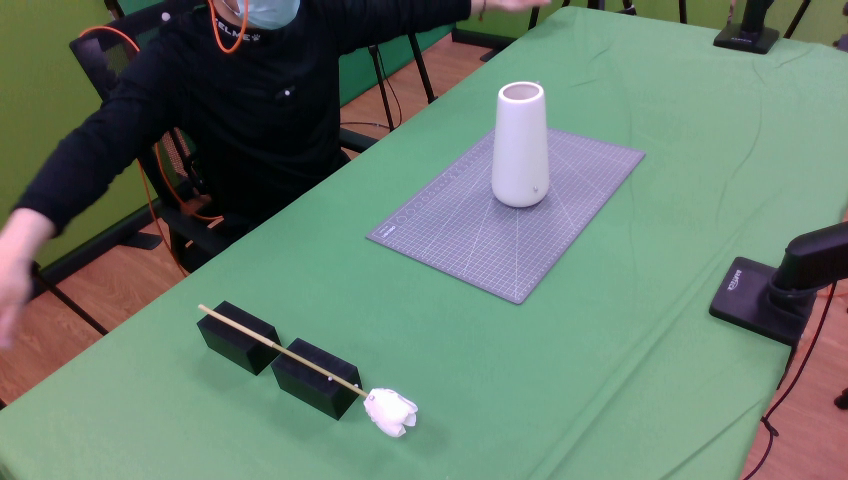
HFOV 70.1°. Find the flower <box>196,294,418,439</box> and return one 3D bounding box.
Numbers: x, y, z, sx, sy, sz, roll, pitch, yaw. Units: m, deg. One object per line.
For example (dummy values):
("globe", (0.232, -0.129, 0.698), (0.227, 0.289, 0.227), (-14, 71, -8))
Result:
("flower", (-0.163, 0.142, 0.751), (0.359, 0.038, 0.044), (24, 67, 26))

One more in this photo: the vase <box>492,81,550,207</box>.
("vase", (0.159, -0.151, 0.982), (0.098, 0.201, 0.097), (-3, 41, 3))
